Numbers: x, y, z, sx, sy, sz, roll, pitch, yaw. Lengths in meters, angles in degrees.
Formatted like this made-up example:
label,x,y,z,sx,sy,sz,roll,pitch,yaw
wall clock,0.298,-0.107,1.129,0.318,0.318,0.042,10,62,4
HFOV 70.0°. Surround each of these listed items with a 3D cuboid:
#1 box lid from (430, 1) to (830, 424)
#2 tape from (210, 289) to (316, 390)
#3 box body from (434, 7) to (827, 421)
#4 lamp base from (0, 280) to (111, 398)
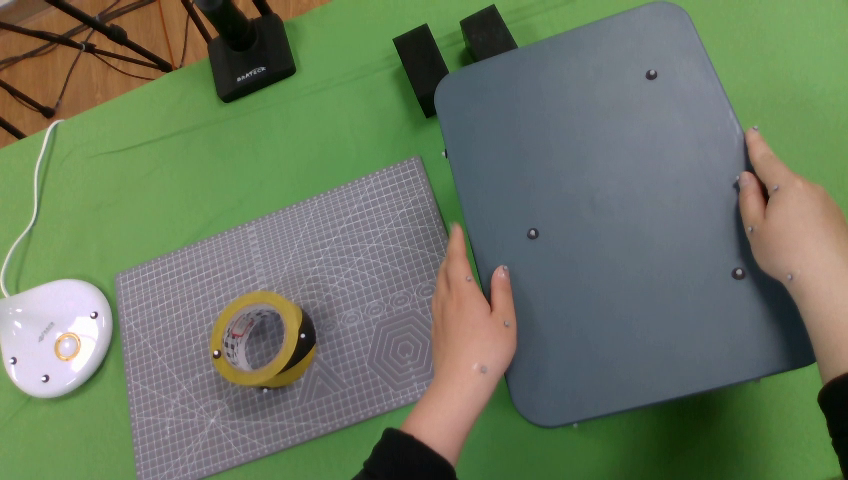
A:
label,x,y,z,sx,sy,sz,roll,pitch,yaw
box lid,0.163,-0.043,0.555,0.263,0.015,0.368,-17,69,8
tape,-0.194,0.119,0.724,0.116,0.053,0.116,-4,70,12
box body,0.180,-0.016,0.622,0.254,0.162,0.361,-17,68,8
lamp base,-0.520,0.101,0.743,0.178,0.182,0.160,17,75,21
